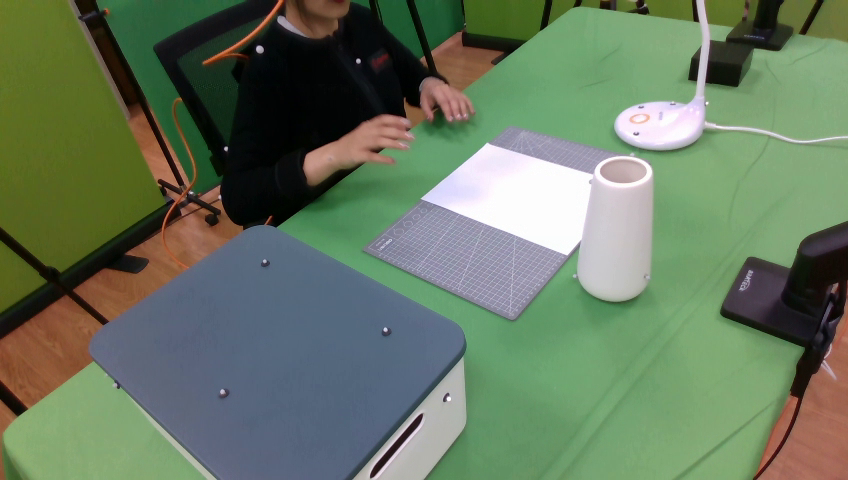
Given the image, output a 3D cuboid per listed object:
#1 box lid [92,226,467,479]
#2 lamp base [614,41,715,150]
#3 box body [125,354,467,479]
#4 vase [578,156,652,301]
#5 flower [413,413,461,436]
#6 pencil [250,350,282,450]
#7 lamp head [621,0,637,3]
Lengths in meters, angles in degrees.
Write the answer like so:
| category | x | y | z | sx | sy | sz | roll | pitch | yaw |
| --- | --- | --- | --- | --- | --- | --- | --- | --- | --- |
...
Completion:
| category | x | y | z | sx | sy | sz | roll | pitch | yaw |
| --- | --- | --- | --- | --- | --- | --- | --- | --- | --- |
| box lid | -0.167 | 0.110 | 0.661 | 0.368 | 0.015 | 0.264 | 24 | 50 | 33 |
| lamp base | 0.449 | -0.277 | 1.106 | 0.179 | 0.181 | 0.160 | 1 | 41 | 9 |
| box body | -0.155 | 0.169 | 0.707 | 0.361 | 0.161 | 0.255 | 23 | 49 | 33 |
| vase | 0.261 | -0.011 | 0.812 | 0.098 | 0.201 | 0.097 | -4 | 40 | 4 |
| flower | -0.120 | 0.203 | 0.774 | 0.359 | 0.038 | 0.044 | 2 | 77 | 25 |
| pencil | -0.212 | 0.203 | 0.798 | 0.012 | 0.012 | 0.192 | -22 | 36 | -14 |
| lamp head | 0.319 | -0.453 | 0.962 | 0.113 | 0.123 | 0.112 | 20 | 33 | -13 |
